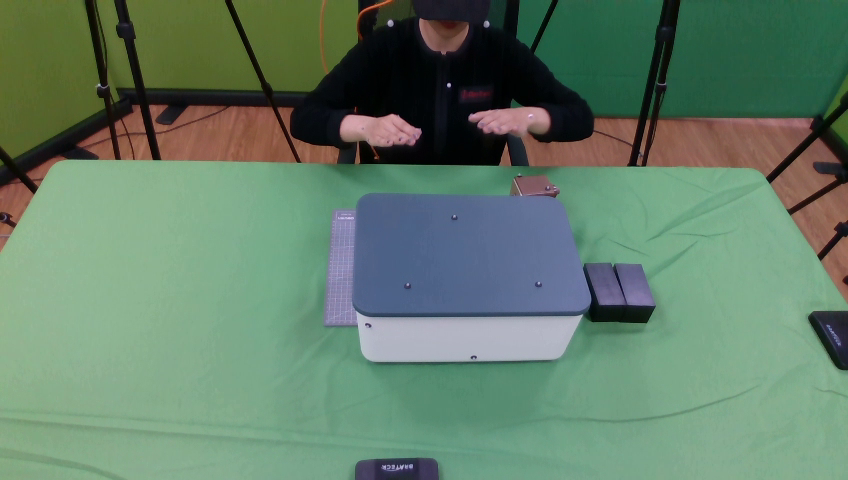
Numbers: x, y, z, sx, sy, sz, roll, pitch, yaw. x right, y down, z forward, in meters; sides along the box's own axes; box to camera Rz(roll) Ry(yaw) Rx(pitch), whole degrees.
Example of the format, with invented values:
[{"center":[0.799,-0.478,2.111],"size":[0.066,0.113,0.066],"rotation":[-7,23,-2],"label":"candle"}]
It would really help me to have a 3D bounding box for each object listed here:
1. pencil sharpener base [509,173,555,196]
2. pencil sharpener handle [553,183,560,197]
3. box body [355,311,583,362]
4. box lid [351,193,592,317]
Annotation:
[{"center":[0.216,-0.075,1.224],"size":[0.077,0.107,0.061],"rotation":[-6,46,-10],"label":"pencil sharpener base"},{"center":[0.267,-0.089,1.224],"size":[0.031,0.068,0.035],"rotation":[-6,44,-10],"label":"pencil sharpener handle"},{"center":[0.066,0.068,1.038],"size":[0.364,0.161,0.252],"rotation":[0,46,-4],"label":"box body"},{"center":[0.071,0.017,0.984],"size":[0.372,0.015,0.261],"rotation":[0,47,-4],"label":"box lid"}]
